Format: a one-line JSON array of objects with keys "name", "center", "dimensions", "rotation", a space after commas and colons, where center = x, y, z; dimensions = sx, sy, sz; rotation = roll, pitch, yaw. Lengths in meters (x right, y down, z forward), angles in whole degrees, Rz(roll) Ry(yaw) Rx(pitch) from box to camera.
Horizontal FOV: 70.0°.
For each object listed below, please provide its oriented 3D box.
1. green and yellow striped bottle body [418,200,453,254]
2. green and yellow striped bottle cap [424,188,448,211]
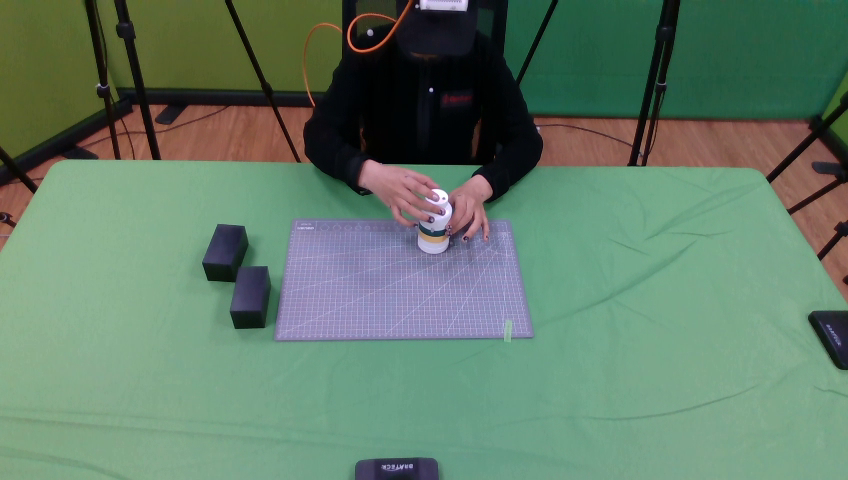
[{"name": "green and yellow striped bottle body", "center": [0.021, -0.036, 1.160], "dimensions": [0.063, 0.120, 0.063], "rotation": [2, 46, -2]}, {"name": "green and yellow striped bottle cap", "center": [0.023, -0.076, 1.120], "dimensions": [0.045, 0.020, 0.045], "rotation": [2, 49, -2]}]
